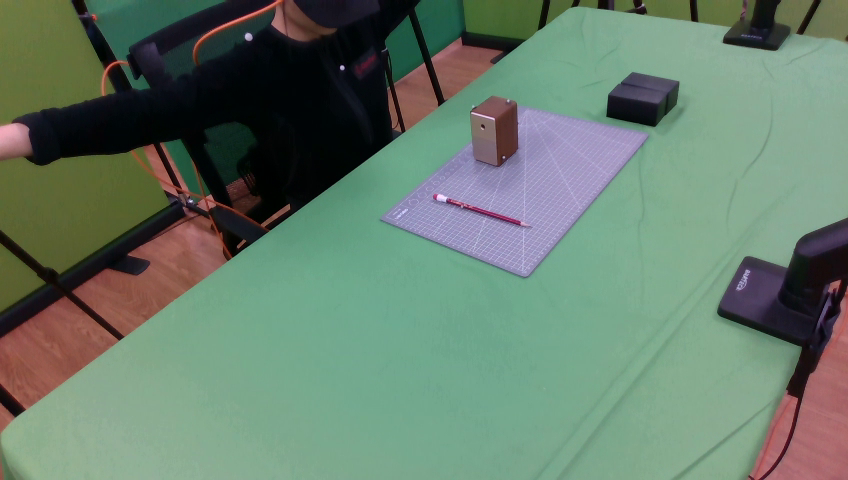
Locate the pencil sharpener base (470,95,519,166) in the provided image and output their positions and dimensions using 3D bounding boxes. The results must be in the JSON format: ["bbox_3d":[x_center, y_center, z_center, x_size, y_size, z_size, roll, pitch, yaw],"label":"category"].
[{"bbox_3d":[0.134,-0.205,1.128,0.061,0.107,0.077,23,50,33],"label":"pencil sharpener base"}]

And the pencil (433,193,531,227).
[{"bbox_3d":[0.096,-0.050,1.028,0.192,0.012,0.012,20,49,29],"label":"pencil"}]

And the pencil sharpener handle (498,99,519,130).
[{"bbox_3d":[0.165,-0.243,1.148,0.035,0.068,0.031,21,49,35],"label":"pencil sharpener handle"}]
